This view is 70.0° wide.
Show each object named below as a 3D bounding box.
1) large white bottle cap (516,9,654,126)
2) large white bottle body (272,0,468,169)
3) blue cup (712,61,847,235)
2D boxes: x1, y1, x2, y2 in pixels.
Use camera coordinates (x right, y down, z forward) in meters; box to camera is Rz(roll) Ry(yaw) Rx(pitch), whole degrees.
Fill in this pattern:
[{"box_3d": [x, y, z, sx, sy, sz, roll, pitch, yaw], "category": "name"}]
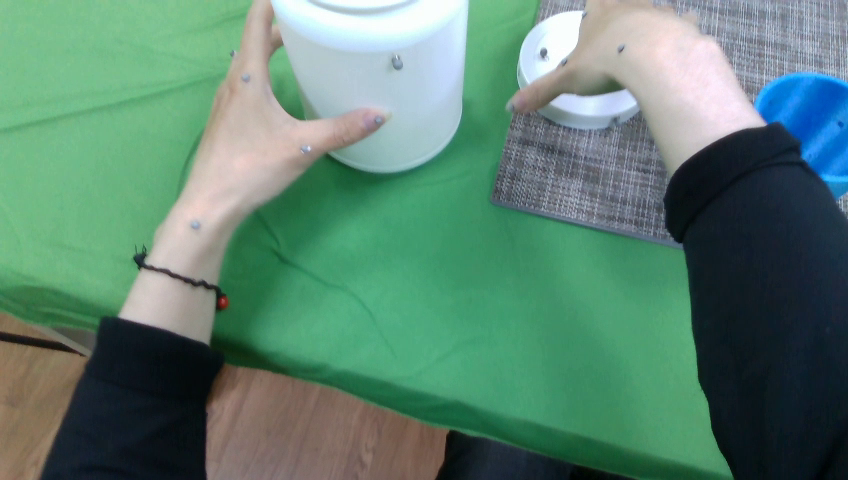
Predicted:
[{"box_3d": [0.137, -0.149, 0.517, 0.115, 0.018, 0.114, 0, 66, 0], "category": "large white bottle cap"}, {"box_3d": [-0.035, -0.151, 0.430, 0.130, 0.186, 0.129, 0, 64, 0], "category": "large white bottle body"}, {"box_3d": [0.251, -0.052, 0.424, 0.092, 0.101, 0.092, 0, 63, 1], "category": "blue cup"}]
